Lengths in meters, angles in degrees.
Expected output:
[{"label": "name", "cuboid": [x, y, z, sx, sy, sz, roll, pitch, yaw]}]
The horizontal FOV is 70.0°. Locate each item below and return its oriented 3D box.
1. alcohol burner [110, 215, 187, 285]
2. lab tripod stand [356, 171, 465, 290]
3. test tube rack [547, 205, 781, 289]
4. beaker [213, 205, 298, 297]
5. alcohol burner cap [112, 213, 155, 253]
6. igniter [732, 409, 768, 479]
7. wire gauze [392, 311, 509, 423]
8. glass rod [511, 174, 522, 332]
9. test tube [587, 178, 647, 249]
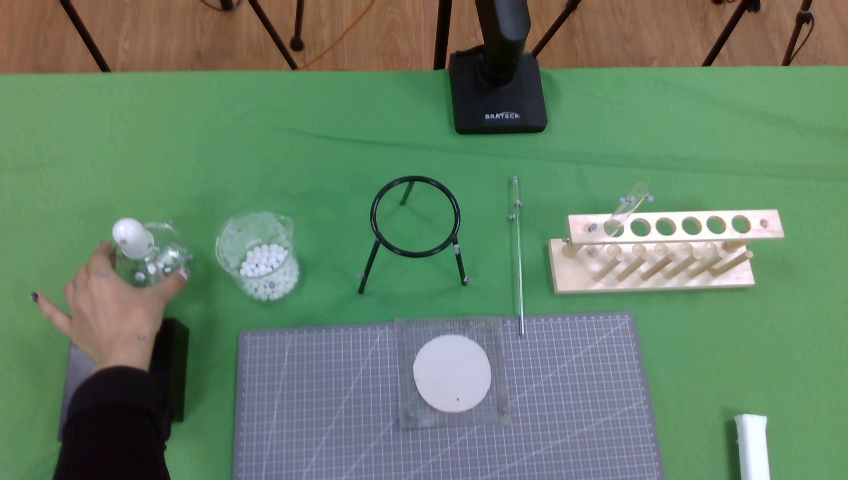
[{"label": "alcohol burner", "cuboid": [-0.294, 0.004, 0.634, 0.078, 0.120, 0.077, 2, 68, -4]}, {"label": "lab tripod stand", "cuboid": [-0.016, -0.009, 0.654, 0.148, 0.132, 0.147, 1, 69, -3]}, {"label": "test tube rack", "cuboid": [0.275, 0.009, 0.700, 0.243, 0.085, 0.066, -2, 70, -6]}, {"label": "beaker", "cuboid": [-0.173, 0.015, 0.649, 0.084, 0.101, 0.073, -40, 78, -18]}, {"label": "alcohol burner cap", "cuboid": [-0.289, -0.009, 0.600, 0.034, 0.048, 0.033, 3, 71, -8]}, {"label": "igniter", "cuboid": [0.345, 0.317, 0.625, 0.057, 0.025, 0.274, 11, 69, -12]}, {"label": "wire gauze", "cuboid": [0.029, 0.138, 0.669, 0.125, 0.011, 0.120, -1, 69, -4]}, {"label": "glass rod", "cuboid": [0.111, 0.012, 0.724, 0.008, 0.008, 0.198, 2, 71, -5]}, {"label": "test tube", "cuboid": [0.205, -0.025, 0.654, 0.017, 0.151, 0.017, 1, 66, -3]}]
